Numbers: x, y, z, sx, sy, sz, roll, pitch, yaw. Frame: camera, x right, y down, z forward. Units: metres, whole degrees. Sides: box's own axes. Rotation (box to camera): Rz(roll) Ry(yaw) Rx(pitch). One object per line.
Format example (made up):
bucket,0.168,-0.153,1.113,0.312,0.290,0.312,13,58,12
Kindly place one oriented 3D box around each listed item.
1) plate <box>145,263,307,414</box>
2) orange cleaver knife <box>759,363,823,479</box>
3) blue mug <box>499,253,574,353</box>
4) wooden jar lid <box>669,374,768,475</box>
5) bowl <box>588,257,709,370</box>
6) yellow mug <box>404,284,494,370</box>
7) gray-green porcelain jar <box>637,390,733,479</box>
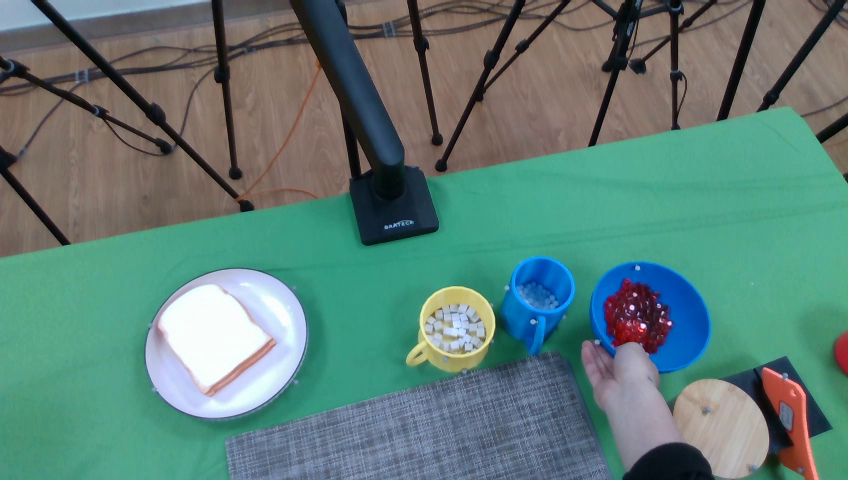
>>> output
plate,-0.258,0.131,0.807,0.208,0.039,0.206,1,61,-2
orange cleaver knife,0.456,0.257,0.744,0.012,0.077,0.211,-14,89,-9
blue mug,0.147,0.092,0.807,0.082,0.106,0.115,6,61,1
wooden jar lid,0.322,0.203,0.670,0.108,0.021,0.107,2,63,-4
bowl,0.281,0.106,0.792,0.151,0.077,0.150,2,60,-3
yellow mug,0.029,0.124,0.807,0.131,0.064,0.099,-32,67,-17
gray-green porcelain jar,0.322,0.234,0.725,0.106,0.127,0.105,1,61,-2
